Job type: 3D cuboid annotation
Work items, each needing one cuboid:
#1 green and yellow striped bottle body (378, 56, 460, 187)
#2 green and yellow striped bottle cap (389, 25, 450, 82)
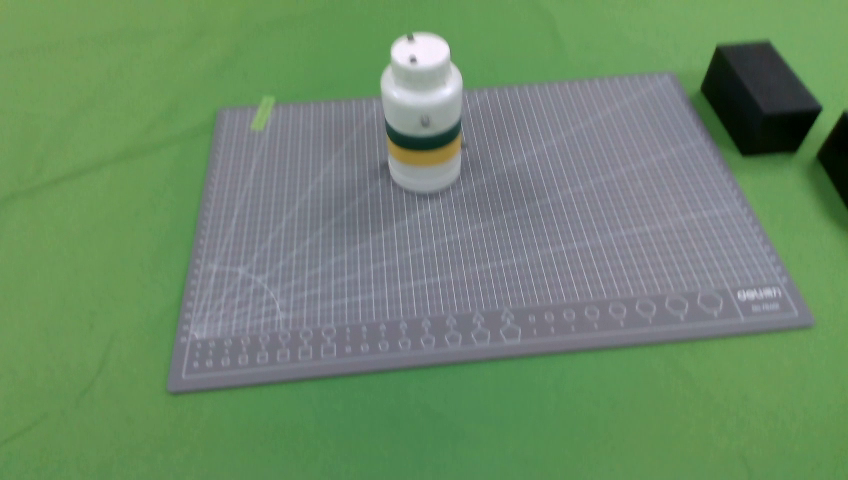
[{"bbox_3d":[-0.003,-0.104,0.481,0.063,0.121,0.062,-1,52,2],"label":"green and yellow striped bottle body"},{"bbox_3d":[-0.003,-0.136,0.440,0.045,0.020,0.045,-2,54,3],"label":"green and yellow striped bottle cap"}]
